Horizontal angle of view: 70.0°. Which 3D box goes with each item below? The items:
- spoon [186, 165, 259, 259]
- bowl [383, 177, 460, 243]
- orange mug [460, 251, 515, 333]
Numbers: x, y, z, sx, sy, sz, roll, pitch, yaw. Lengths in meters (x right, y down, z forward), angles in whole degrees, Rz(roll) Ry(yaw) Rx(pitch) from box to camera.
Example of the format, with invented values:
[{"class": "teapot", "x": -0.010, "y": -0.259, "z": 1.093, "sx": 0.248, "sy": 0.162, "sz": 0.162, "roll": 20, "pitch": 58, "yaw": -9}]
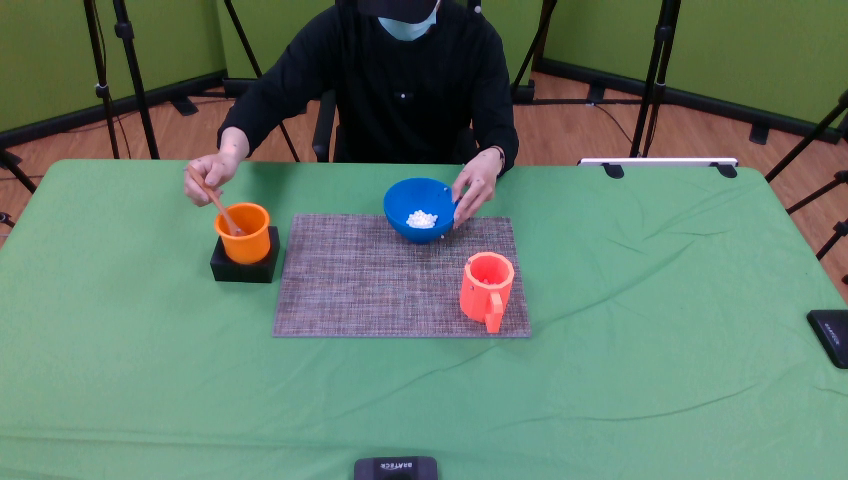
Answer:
[{"class": "spoon", "x": -0.350, "y": -0.048, "z": 1.054, "sx": 0.021, "sy": 0.194, "sz": 0.041, "roll": -7, "pitch": 28, "yaw": 49}, {"class": "bowl", "x": -0.006, "y": -0.048, "z": 1.197, "sx": 0.151, "sy": 0.077, "sz": 0.150, "roll": 2, "pitch": 46, "yaw": -2}, {"class": "orange mug", "x": 0.114, "y": 0.094, "z": 1.053, "sx": 0.083, "sy": 0.101, "sz": 0.125, "roll": -5, "pitch": 42, "yaw": -8}]
